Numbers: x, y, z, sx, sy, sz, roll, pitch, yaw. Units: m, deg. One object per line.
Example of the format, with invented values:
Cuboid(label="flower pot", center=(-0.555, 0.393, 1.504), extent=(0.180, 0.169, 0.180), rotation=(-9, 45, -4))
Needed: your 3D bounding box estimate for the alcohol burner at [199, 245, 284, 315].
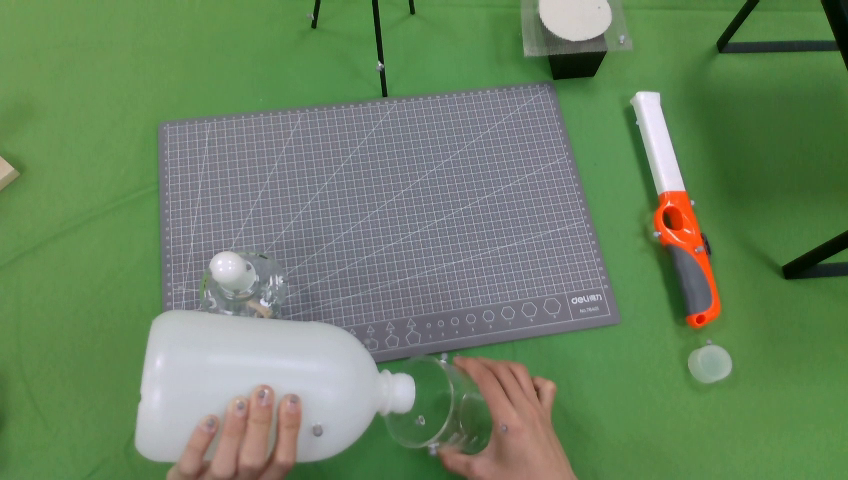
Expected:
Cuboid(label="alcohol burner", center=(-0.168, 0.035, 0.551), extent=(0.078, 0.120, 0.077), rotation=(2, 68, -5))

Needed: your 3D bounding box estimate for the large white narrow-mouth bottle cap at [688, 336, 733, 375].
Cuboid(label="large white narrow-mouth bottle cap", center=(0.286, 0.116, 0.608), extent=(0.038, 0.024, 0.037), rotation=(1, 69, -3))

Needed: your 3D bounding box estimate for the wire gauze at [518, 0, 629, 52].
Cuboid(label="wire gauze", center=(0.167, -0.269, 0.695), extent=(0.121, 0.011, 0.124), rotation=(-1, 69, -4))

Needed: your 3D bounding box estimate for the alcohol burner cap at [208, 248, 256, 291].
Cuboid(label="alcohol burner cap", center=(-0.166, 0.024, 0.516), extent=(0.034, 0.048, 0.033), rotation=(0, 74, -1))

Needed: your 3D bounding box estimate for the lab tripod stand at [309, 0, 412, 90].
Cuboid(label="lab tripod stand", center=(-0.061, -0.261, 0.661), extent=(0.148, 0.132, 0.147), rotation=(2, 70, -5))

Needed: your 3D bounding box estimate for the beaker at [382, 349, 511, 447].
Cuboid(label="beaker", center=(0.022, 0.143, 0.531), extent=(0.084, 0.101, 0.073), rotation=(-19, 60, 35))

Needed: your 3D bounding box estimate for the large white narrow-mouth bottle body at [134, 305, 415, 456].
Cuboid(label="large white narrow-mouth bottle body", center=(-0.101, 0.107, 0.448), extent=(0.196, 0.102, 0.101), rotation=(8, 68, -21))

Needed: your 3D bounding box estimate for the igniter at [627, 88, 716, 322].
Cuboid(label="igniter", center=(0.269, -0.046, 0.663), extent=(0.057, 0.025, 0.274), rotation=(-1, 69, -16))

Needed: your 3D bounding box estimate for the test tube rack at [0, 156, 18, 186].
Cuboid(label="test tube rack", center=(-0.523, -0.021, 0.562), extent=(0.066, 0.085, 0.242), rotation=(38, 71, 10))
